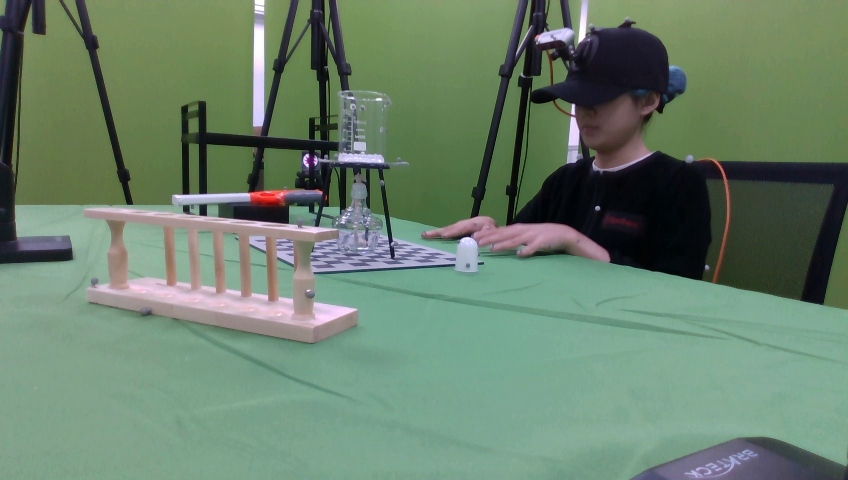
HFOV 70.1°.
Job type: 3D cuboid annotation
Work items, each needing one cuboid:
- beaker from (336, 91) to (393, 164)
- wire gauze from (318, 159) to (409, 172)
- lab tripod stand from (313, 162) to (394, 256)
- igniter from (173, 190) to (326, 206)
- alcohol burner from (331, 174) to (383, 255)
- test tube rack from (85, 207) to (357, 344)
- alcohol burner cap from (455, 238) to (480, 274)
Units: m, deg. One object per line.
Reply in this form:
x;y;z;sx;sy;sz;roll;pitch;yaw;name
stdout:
-0.087;-0.160;0.878;0.084;0.100;0.073;0;6;-24;beaker
-0.091;-0.112;0.887;0.122;0.011;0.124;3;3;-15;wire gauze
-0.098;-0.048;0.897;0.148;0.131;0.148;1;6;0;lab tripod stand
-0.317;-0.079;1.128;0.278;0.025;0.057;-4;13;-32;igniter
-0.098;-0.038;0.895;0.078;0.119;0.078;4;9;0;alcohol burner
-0.177;0.022;0.518;0.241;0.085;0.067;6;7;23;test tube rack
0.058;0.022;0.798;0.034;0.048;0.034;3;6;0;alcohol burner cap
